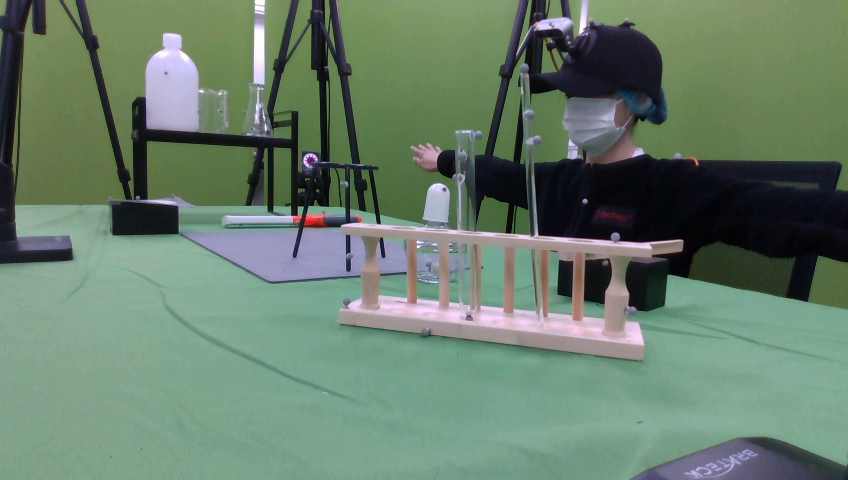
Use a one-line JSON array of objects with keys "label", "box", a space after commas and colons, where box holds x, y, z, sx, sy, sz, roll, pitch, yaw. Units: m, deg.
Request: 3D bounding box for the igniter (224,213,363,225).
[{"label": "igniter", "box": [-0.255, -0.041, 1.210, 0.278, 0.025, 0.057, -2, -2, -31]}]

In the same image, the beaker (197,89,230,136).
[{"label": "beaker", "box": [-0.472, -0.283, 1.353, 0.074, 0.100, 0.083, -4, 10, -35]}]

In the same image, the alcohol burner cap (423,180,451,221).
[{"label": "alcohol burner cap", "box": [0.017, -0.047, 0.711, 0.034, 0.048, 0.034, 8, 5, 0]}]

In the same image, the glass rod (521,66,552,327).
[{"label": "glass rod", "box": [0.085, -0.028, 0.454, 0.008, 0.199, 0.008, -7, 10, 2]}]

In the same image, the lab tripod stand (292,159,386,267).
[{"label": "lab tripod stand", "box": [-0.105, -0.039, 0.798, 0.148, 0.131, 0.148, 2, 5, 0]}]

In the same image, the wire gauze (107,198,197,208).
[{"label": "wire gauze", "box": [-0.462, -0.064, 1.023, 0.126, 0.011, 0.121, -2, 7, -32]}]

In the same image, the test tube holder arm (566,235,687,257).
[{"label": "test tube holder arm", "box": [0.215, 0.006, 0.630, 0.179, 0.015, 0.013, -3, 9, -30]}]

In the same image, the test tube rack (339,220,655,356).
[{"label": "test tube rack", "box": [0.056, 0.032, 0.495, 0.242, 0.085, 0.067, 4, 7, 15]}]

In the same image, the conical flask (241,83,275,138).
[{"label": "conical flask", "box": [-0.383, -0.297, 1.392, 0.075, 0.122, 0.075, 2, 7, 0]}]

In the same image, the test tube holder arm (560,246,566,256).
[{"label": "test tube holder arm", "box": [0.173, 0.007, 0.611, 0.088, 0.015, 0.010, -3, 9, -30]}]

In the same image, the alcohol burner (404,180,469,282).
[{"label": "alcohol burner", "box": [0.015, -0.011, 0.715, 0.078, 0.119, 0.078, 0, 7, 0]}]

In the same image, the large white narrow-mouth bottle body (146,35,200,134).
[{"label": "large white narrow-mouth bottle body", "box": [-0.516, -0.319, 1.244, 0.102, 0.194, 0.102, 2, 7, 0]}]

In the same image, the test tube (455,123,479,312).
[{"label": "test tube", "box": [0.034, -0.016, 0.476, 0.017, 0.150, 0.017, -2, 10, 1]}]

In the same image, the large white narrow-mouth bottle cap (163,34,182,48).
[{"label": "large white narrow-mouth bottle cap", "box": [-0.514, -0.404, 1.233, 0.038, 0.024, 0.037, 2, 7, 0]}]
